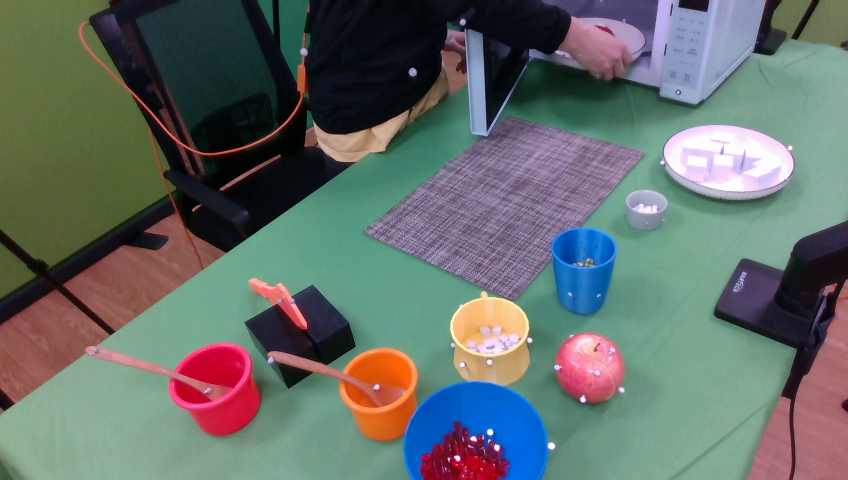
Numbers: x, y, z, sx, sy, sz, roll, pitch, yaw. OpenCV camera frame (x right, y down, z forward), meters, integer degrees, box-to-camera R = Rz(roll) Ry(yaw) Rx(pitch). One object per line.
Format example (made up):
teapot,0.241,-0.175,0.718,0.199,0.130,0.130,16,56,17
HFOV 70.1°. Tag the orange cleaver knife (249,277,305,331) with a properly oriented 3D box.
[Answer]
orange cleaver knife,-0.210,0.088,0.855,0.012,0.077,0.210,-28,15,-25

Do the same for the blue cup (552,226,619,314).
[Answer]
blue cup,0.218,0.047,0.825,0.092,0.101,0.092,-6,40,5

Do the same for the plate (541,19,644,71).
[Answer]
plate,0.350,-0.404,1.265,0.209,0.038,0.208,-2,42,2

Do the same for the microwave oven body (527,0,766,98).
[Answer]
microwave oven body,0.472,-0.513,1.317,0.438,0.261,0.327,26,51,34

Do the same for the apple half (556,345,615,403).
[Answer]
apple half,0.181,0.166,0.709,0.080,0.081,0.033,29,50,35

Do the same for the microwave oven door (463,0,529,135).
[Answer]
microwave oven door,0.156,-0.410,1.236,0.039,0.245,0.355,10,43,19

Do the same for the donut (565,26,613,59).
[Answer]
donut,0.342,-0.412,1.255,0.099,0.048,0.098,-2,40,2

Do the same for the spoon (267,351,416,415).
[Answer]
spoon,-0.091,0.162,0.699,0.021,0.195,0.041,-45,30,26

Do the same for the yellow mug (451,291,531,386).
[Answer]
yellow mug,0.086,0.120,0.786,0.100,0.064,0.130,-7,39,1

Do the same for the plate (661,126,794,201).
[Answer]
plate,0.513,-0.128,1.035,0.207,0.039,0.206,-4,40,4

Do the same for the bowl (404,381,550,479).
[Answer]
bowl,0.058,0.235,0.645,0.151,0.077,0.150,-4,39,4

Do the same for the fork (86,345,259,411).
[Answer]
fork,-0.298,0.166,0.728,0.209,0.018,0.028,28,46,-23

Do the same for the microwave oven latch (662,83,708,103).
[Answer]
microwave oven latch,0.519,-0.297,1.204,0.030,0.029,0.078,-37,47,-29

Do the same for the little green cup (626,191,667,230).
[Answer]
little green cup,0.352,-0.046,0.963,0.061,0.039,0.061,-4,40,4

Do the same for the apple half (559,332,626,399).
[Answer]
apple half,0.209,0.147,0.730,0.080,0.075,0.053,26,48,38
